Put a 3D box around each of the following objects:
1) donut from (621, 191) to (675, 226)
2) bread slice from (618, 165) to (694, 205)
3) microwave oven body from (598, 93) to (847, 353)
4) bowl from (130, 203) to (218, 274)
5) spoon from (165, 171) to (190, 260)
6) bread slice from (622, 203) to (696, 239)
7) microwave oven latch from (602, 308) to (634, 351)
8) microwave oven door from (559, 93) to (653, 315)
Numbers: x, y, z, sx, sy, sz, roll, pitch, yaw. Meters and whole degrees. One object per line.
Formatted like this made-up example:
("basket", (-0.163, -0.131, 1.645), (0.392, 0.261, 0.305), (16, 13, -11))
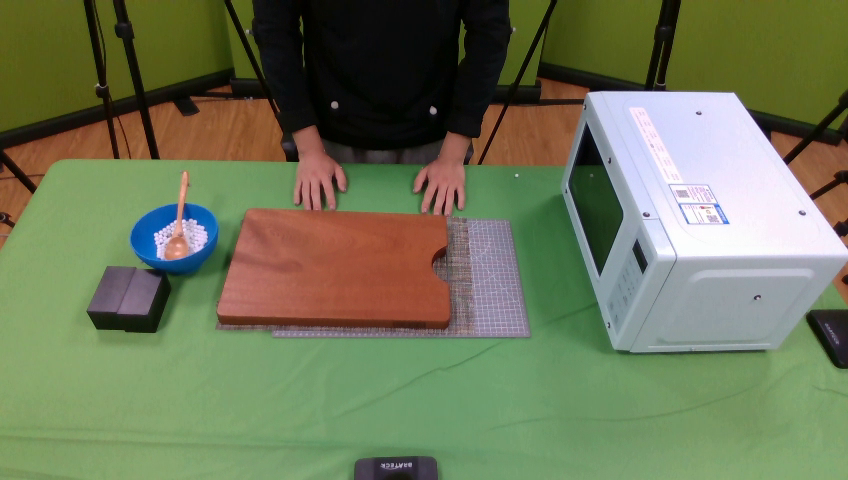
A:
("donut", (0.434, -0.061, 1.174), (0.099, 0.048, 0.098), (-7, 27, 4))
("bread slice", (0.443, -0.104, 1.150), (0.135, 0.018, 0.106), (0, 41, -24))
("microwave oven body", (0.475, -0.041, 1.110), (0.326, 0.261, 0.438), (-1, 45, -4))
("bowl", (-0.450, 0.010, 1.117), (0.151, 0.077, 0.150), (3, 45, -3))
("spoon", (-0.452, -0.046, 1.129), (0.041, 0.022, 0.193), (-1, 69, -2))
("bread slice", (0.466, -0.040, 1.201), (0.131, 0.019, 0.104), (-2, 37, 9))
("microwave oven latch", (0.332, 0.153, 1.044), (0.030, 0.029, 0.078), (-1, 45, -4))
("microwave oven door", (0.327, -0.074, 1.123), (0.039, 0.245, 0.353), (-1, 46, -5))
